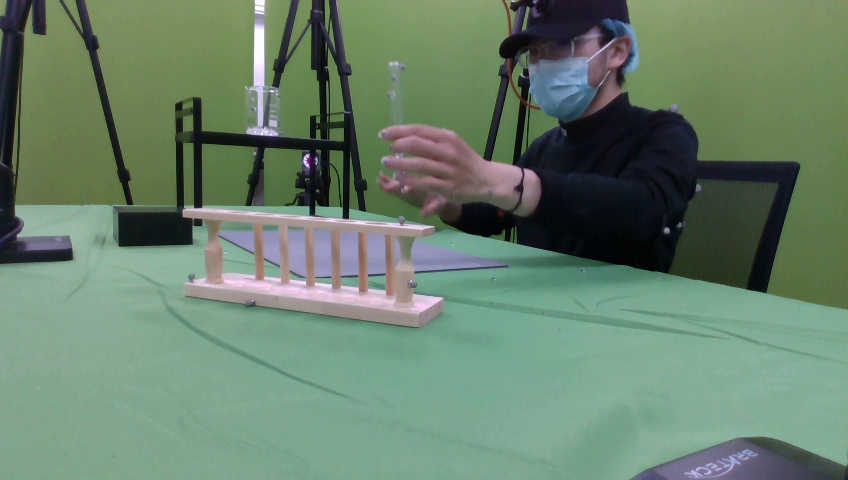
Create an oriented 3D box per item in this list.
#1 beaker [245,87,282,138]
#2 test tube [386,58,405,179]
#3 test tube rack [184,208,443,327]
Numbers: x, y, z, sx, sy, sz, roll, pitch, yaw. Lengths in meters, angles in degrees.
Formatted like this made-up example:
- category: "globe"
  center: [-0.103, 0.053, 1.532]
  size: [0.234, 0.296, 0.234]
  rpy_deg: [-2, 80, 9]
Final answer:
- category: "beaker"
  center: [-0.337, -0.266, 1.260]
  size: [0.074, 0.100, 0.084]
  rpy_deg: [5, 8, 23]
- category: "test tube"
  center: [-0.036, -0.152, 0.765]
  size: [0.017, 0.150, 0.017]
  rpy_deg: [-3, 8, 1]
- category: "test tube rack"
  center: [-0.106, 0.019, 0.570]
  size: [0.241, 0.085, 0.067]
  rpy_deg: [5, 7, 20]
